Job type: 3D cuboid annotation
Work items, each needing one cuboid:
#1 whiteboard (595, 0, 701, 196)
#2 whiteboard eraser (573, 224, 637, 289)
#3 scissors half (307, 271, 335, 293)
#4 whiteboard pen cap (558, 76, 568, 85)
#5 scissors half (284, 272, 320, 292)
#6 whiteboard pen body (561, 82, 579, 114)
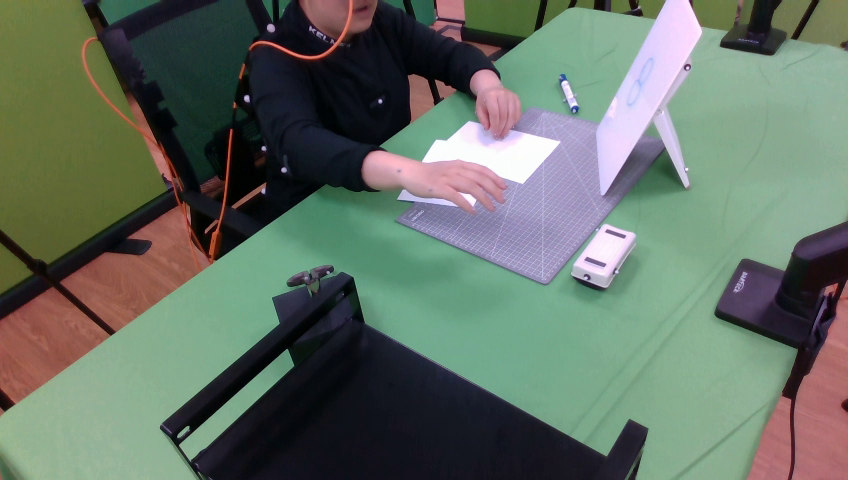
[{"bbox_3d":[0.421,-0.227,1.010,0.144,0.305,0.216,18,42,-2],"label":"whiteboard"},{"bbox_3d":[0.267,0.025,0.891,0.055,0.042,0.113,19,47,31],"label":"whiteboard eraser"},{"bbox_3d":[-0.151,0.061,0.873,0.040,0.013,0.175,-3,6,-5],"label":"scissors half"},{"bbox_3d":[0.310,-0.350,1.340,0.018,0.018,0.033,-6,41,2],"label":"whiteboard pen cap"},{"bbox_3d":[-0.171,0.063,0.868,0.040,0.013,0.174,-11,7,-22],"label":"scissors half"},{"bbox_3d":[0.310,-0.311,1.298,0.017,0.017,0.140,-6,41,2],"label":"whiteboard pen body"}]
